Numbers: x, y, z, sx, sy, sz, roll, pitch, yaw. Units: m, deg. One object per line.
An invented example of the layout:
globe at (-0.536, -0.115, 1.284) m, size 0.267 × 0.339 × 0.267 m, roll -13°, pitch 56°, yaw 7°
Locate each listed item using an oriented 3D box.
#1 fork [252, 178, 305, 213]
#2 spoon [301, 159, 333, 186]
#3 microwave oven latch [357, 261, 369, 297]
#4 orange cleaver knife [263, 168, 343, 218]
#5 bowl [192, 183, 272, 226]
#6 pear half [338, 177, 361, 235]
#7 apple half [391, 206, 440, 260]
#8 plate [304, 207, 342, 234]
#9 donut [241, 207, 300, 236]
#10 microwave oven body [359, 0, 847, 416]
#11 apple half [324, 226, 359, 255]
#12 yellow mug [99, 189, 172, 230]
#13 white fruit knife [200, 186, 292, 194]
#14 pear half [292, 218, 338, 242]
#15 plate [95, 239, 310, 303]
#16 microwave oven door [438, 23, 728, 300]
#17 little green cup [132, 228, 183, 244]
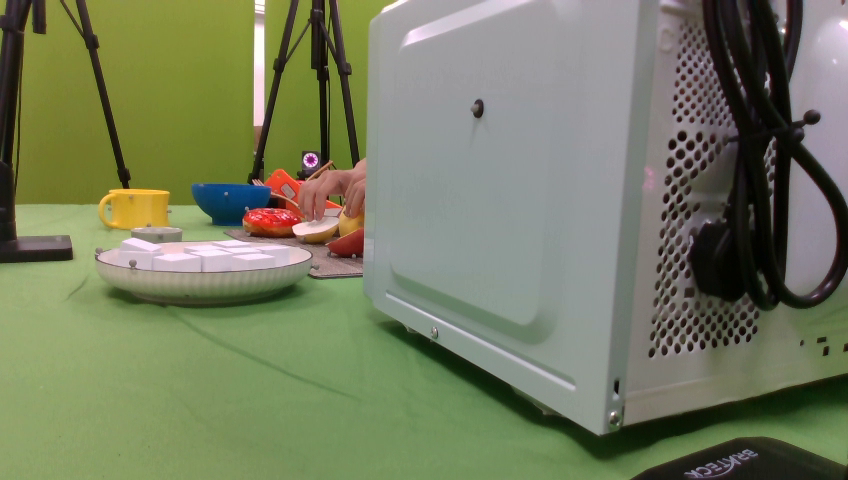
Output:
fork at (-0.295, -0.084, 1.292) m, size 0.206 × 0.018 × 0.028 m, roll 29°, pitch 10°, yaw 25°
spoon at (-0.316, -0.159, 1.639) m, size 0.194 × 0.022 × 0.041 m, roll -49°, pitch 32°, yaw -20°
microwave oven latch at (-0.019, 0.033, 0.531) m, size 0.079 × 0.029 × 0.030 m, roll -1°, pitch 7°, yaw -27°
orange cleaver knife at (-0.262, -0.088, 1.352) m, size 0.211 × 0.077 × 0.012 m, roll 28°, pitch 13°, yaw 0°
bowl at (-0.381, -0.071, 1.202) m, size 0.151 × 0.077 × 0.151 m, roll 3°, pitch 7°, yaw 0°
pear half at (-0.088, -0.042, 0.923) m, size 0.055 × 0.110 × 0.077 m, roll 6°, pitch 13°, yaw 37°
apple half at (-0.006, -0.009, 0.837) m, size 0.053 × 0.074 × 0.081 m, roll 10°, pitch 6°, yaw 23°
plate at (-0.123, -0.037, 1.149) m, size 0.209 × 0.038 × 0.209 m, roll 2°, pitch 8°, yaw 0°
donut at (-0.263, -0.031, 1.039) m, size 0.099 × 0.048 × 0.099 m, roll 5°, pitch 9°, yaw 0°
microwave oven body at (0.211, -0.047, 0.474) m, size 0.444 × 0.260 × 0.324 m, roll -1°, pitch 7°, yaw -28°
apple half at (-0.095, 0.002, 0.848) m, size 0.081 × 0.033 × 0.081 m, roll -21°, pitch -1°, yaw 0°
yellow mug at (-0.518, -0.055, 1.080) m, size 0.099 × 0.064 × 0.131 m, roll 6°, pitch 9°, yaw 26°
white fruit knife at (-0.399, -0.111, 1.368) m, size 0.208 × 0.016 × 0.027 m, roll -4°, pitch -19°, yaw -30°
pear half at (-0.175, -0.013, 0.977) m, size 0.087 × 0.031 × 0.071 m, roll -2°, pitch 14°, yaw 36°
plate at (-0.224, 0.031, 0.629) m, size 0.208 × 0.039 × 0.207 m, roll 2°, pitch 7°, yaw 0°
microwave oven door at (0.181, -0.072, 0.621) m, size 0.358 × 0.243 × 0.039 m, roll -2°, pitch 8°, yaw -29°
little green cup at (-0.342, 0.006, 0.779) m, size 0.061 × 0.038 × 0.061 m, roll 2°, pitch 8°, yaw 0°
